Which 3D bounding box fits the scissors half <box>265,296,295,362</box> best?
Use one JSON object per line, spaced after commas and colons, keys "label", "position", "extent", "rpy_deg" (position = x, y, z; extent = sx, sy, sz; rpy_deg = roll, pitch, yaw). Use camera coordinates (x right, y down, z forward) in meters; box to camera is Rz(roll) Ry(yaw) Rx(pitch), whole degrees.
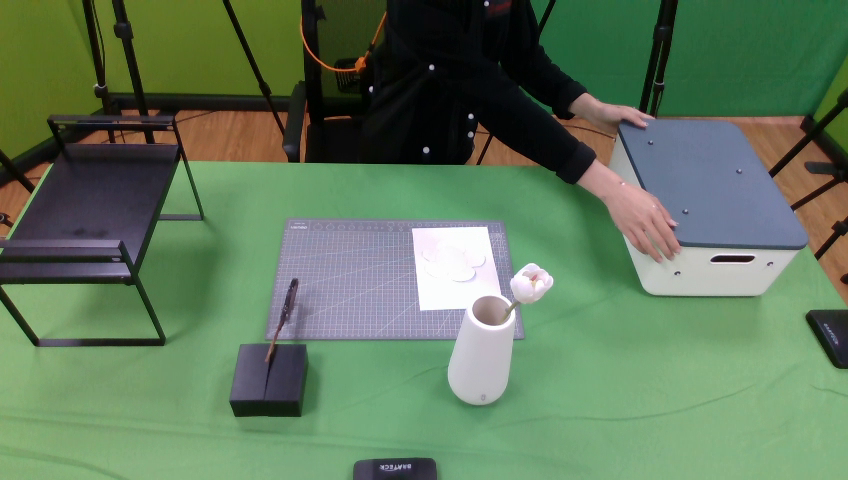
{"label": "scissors half", "position": [-0.239, 0.143, 1.005], "extent": [0.013, 0.040, 0.174], "rpy_deg": [17, 28, -6]}

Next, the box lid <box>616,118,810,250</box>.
{"label": "box lid", "position": [0.533, -0.118, 1.151], "extent": [0.263, 0.015, 0.369], "rpy_deg": [1, 46, -4]}

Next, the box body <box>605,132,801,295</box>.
{"label": "box body", "position": [0.529, -0.068, 1.205], "extent": [0.254, 0.161, 0.361], "rpy_deg": [1, 46, -4]}

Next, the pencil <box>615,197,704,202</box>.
{"label": "pencil", "position": [0.512, -0.090, 1.322], "extent": [0.194, 0.012, 0.012], "rpy_deg": [1, 46, 0]}

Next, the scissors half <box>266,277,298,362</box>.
{"label": "scissors half", "position": [-0.234, 0.127, 0.993], "extent": [0.013, 0.040, 0.174], "rpy_deg": [12, 46, -4]}

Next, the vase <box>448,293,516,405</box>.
{"label": "vase", "position": [0.091, 0.169, 0.921], "extent": [0.098, 0.201, 0.097], "rpy_deg": [3, 47, -3]}

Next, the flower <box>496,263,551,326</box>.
{"label": "flower", "position": [0.102, 0.120, 0.853], "extent": [0.044, 0.363, 0.038], "rpy_deg": [-2, 64, -10]}
